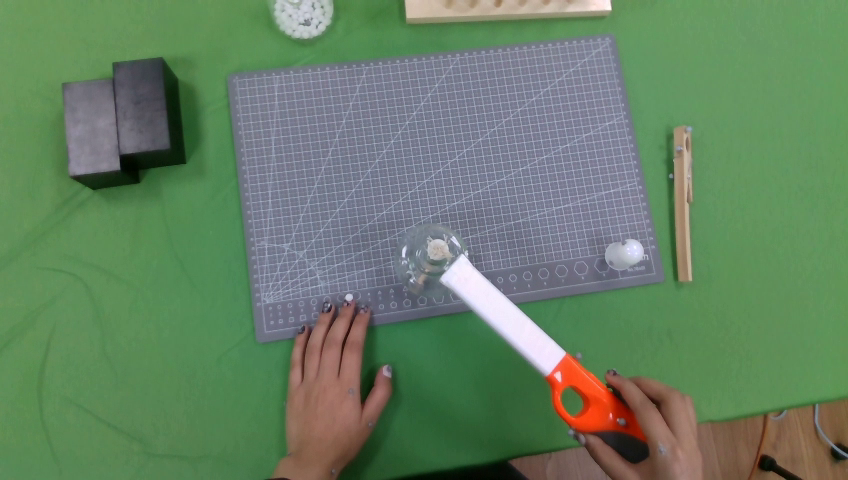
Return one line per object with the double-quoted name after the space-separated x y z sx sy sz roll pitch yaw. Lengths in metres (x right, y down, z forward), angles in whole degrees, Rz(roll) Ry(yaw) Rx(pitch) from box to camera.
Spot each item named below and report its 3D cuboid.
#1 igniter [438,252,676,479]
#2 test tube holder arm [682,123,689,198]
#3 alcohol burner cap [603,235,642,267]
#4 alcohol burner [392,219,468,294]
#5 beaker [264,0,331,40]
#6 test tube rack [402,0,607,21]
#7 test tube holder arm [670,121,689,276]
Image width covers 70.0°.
0.121 0.116 0.539 0.276 0.025 0.057 43 78 -1 "igniter"
0.296 -0.091 0.698 0.010 0.015 0.087 10 79 -38 "test tube holder arm"
0.218 0.011 0.660 0.034 0.048 0.033 1 80 -4 "alcohol burner cap"
0.008 0.014 0.606 0.078 0.119 0.077 1 79 -6 "alcohol burner"
-0.138 -0.266 0.648 0.074 0.100 0.083 -5 81 -5 "beaker"
0.096 -0.303 0.680 0.243 0.085 0.066 -4 82 -5 "test tube rack"
0.290 -0.047 0.688 0.013 0.015 0.178 8 80 -38 "test tube holder arm"
